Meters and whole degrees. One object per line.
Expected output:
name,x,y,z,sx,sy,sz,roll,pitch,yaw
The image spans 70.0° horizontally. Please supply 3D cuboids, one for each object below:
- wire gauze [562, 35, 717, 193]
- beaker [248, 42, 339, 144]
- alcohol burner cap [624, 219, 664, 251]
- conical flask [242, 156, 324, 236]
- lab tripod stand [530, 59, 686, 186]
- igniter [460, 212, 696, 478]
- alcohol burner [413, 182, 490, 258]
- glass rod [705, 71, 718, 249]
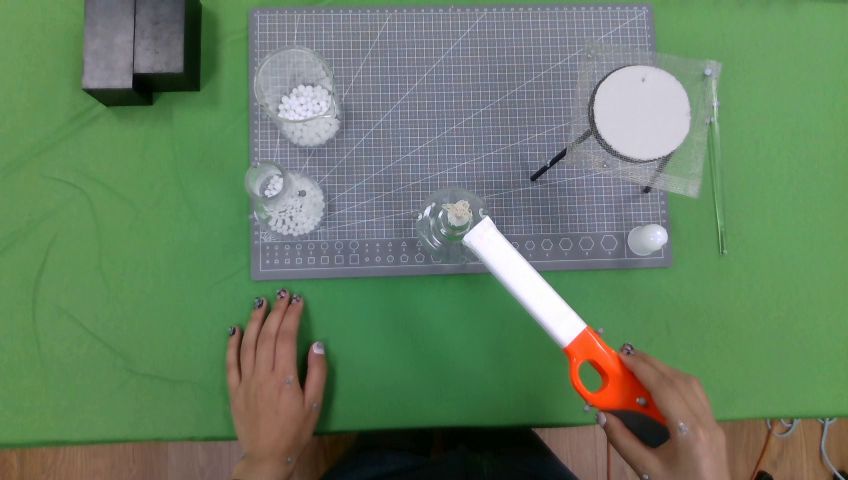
wire gauze,0.189,-0.114,0.533,0.125,0.011,0.121,12,85,0
beaker,-0.122,-0.140,0.607,0.084,0.100,0.074,34,84,1
alcohol burner cap,0.234,-0.007,0.637,0.034,0.048,0.034,0,83,-3
conical flask,-0.141,-0.047,0.585,0.075,0.122,0.075,0,83,-2
lab tripod stand,0.184,-0.107,0.600,0.148,0.131,0.148,0,85,-2
igniter,0.133,0.088,0.519,0.057,0.025,0.276,-41,86,-13
alcohol burner,0.028,-0.022,0.594,0.078,0.119,0.077,0,84,0
glass rod,0.319,-0.089,0.670,0.008,0.008,0.199,-1,87,-3
